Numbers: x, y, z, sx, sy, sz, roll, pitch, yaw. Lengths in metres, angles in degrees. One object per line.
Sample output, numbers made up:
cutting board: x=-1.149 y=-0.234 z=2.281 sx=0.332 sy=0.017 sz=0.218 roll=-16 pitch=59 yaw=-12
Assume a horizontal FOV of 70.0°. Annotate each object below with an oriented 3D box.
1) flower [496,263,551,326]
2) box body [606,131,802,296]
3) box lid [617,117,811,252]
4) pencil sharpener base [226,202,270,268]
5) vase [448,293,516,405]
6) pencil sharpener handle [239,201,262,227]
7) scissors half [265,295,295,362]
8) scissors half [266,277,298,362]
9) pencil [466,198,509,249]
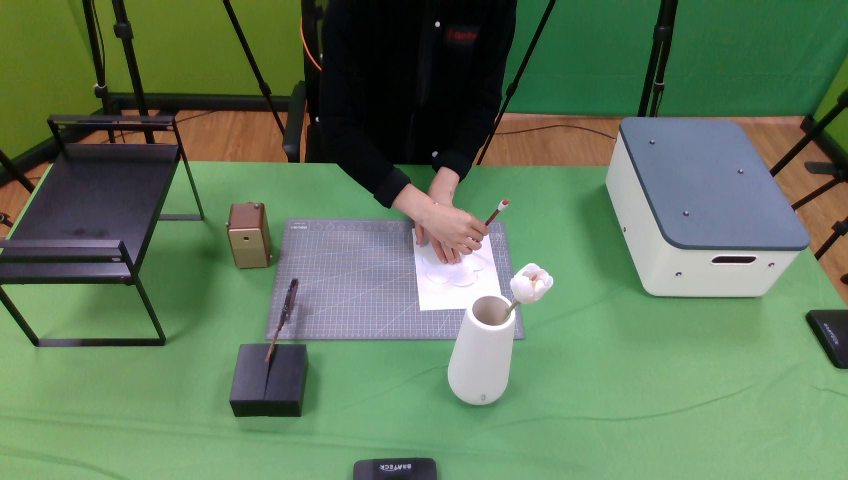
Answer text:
flower: x=0.102 y=0.120 z=0.853 sx=0.044 sy=0.363 sz=0.038 roll=-1 pitch=64 yaw=-10
box body: x=0.530 y=-0.067 z=1.204 sx=0.254 sy=0.161 sz=0.361 roll=0 pitch=46 yaw=-4
box lid: x=0.534 y=-0.117 z=1.148 sx=0.263 sy=0.015 sz=0.369 roll=0 pitch=47 yaw=-3
pencil sharpener base: x=-0.323 y=-0.010 z=1.123 sx=0.061 sy=0.107 sz=0.076 roll=-3 pitch=46 yaw=-7
vase: x=0.091 y=0.169 z=0.921 sx=0.098 sy=0.201 sz=0.097 roll=3 pitch=47 yaw=-3
pencil sharpener handle: x=-0.325 y=-0.056 z=1.150 sx=0.036 sy=0.068 sz=0.030 roll=-13 pitch=46 yaw=3
scissors half: x=-0.239 y=0.143 z=1.005 sx=0.013 sy=0.040 sz=0.174 roll=17 pitch=28 yaw=-7
scissors half: x=-0.234 y=0.127 z=0.993 sx=0.013 sy=0.040 sz=0.174 roll=13 pitch=46 yaw=-4
pencil: x=0.113 y=-0.027 z=1.115 sx=0.012 sy=0.194 sz=0.012 roll=8 pitch=61 yaw=-15
